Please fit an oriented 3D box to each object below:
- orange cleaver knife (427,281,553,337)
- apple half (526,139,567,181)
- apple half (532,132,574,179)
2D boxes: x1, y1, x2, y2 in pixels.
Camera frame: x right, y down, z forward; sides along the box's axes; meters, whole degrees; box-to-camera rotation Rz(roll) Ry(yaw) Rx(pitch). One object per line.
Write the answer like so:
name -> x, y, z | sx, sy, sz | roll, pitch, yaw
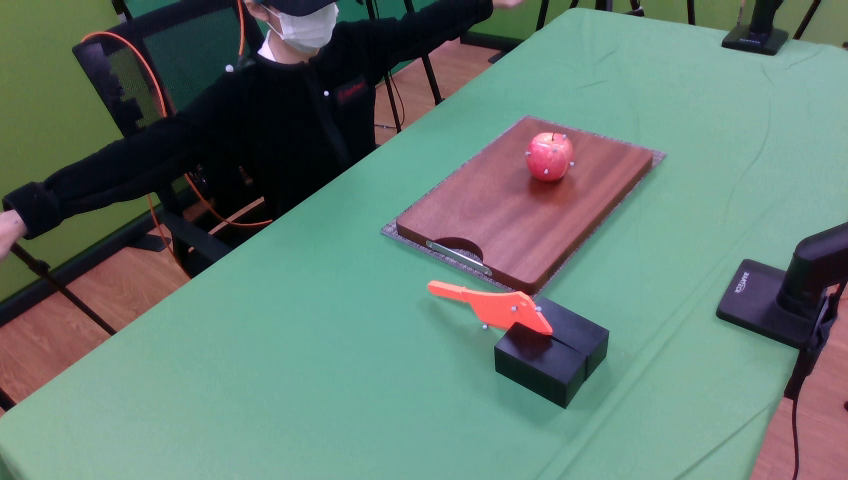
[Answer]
orange cleaver knife -> 0.082, 0.090, 0.810 | 0.012, 0.077, 0.209 | -42, 28, -29
apple half -> 0.198, -0.127, 1.009 | 0.080, 0.081, 0.033 | 24, 46, 32
apple half -> 0.222, -0.147, 1.031 | 0.080, 0.075, 0.053 | 20, 44, 35
